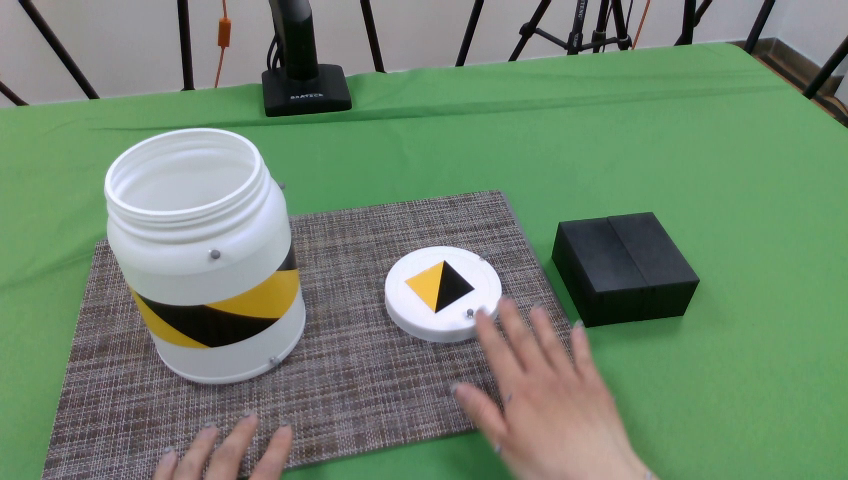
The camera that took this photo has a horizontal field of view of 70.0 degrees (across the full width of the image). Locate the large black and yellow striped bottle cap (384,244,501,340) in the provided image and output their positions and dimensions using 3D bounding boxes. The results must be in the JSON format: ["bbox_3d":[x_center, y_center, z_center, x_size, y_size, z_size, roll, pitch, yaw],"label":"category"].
[{"bbox_3d":[0.018,0.047,0.592,0.115,0.019,0.114,0,42,0],"label":"large black and yellow striped bottle cap"}]

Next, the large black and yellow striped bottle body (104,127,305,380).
[{"bbox_3d":[-0.174,0.013,0.499,0.131,0.185,0.129,1,43,0],"label":"large black and yellow striped bottle body"}]
